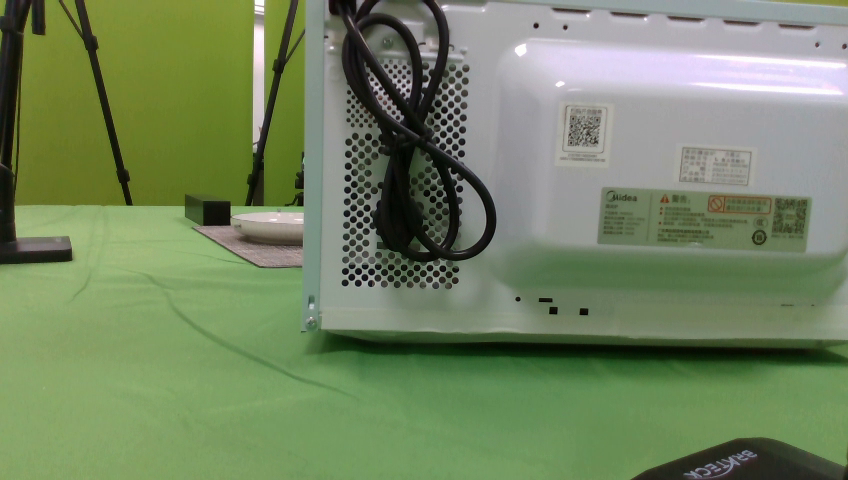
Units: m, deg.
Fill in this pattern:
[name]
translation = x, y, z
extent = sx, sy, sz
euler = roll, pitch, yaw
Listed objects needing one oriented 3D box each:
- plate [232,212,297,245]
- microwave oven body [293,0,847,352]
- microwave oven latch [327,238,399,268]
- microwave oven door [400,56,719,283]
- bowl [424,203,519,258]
[plate]
translation = -0.214, -0.019, 1.018
extent = 0.208, 0.039, 0.207
euler = 2, 7, 0
[microwave oven body]
translation = 0.122, -0.055, 0.550
extent = 0.442, 0.260, 0.325
euler = 3, 7, -5
[microwave oven latch]
translation = -0.069, 0.015, 0.694
extent = 0.079, 0.029, 0.030
euler = 3, 7, -3
[microwave oven door]
translation = 0.155, -0.077, 0.698
extent = 0.356, 0.243, 0.039
euler = 2, 8, -5
[bowl]
translation = 0.073, -0.015, 0.962
extent = 0.151, 0.077, 0.151
euler = 3, 7, 0
